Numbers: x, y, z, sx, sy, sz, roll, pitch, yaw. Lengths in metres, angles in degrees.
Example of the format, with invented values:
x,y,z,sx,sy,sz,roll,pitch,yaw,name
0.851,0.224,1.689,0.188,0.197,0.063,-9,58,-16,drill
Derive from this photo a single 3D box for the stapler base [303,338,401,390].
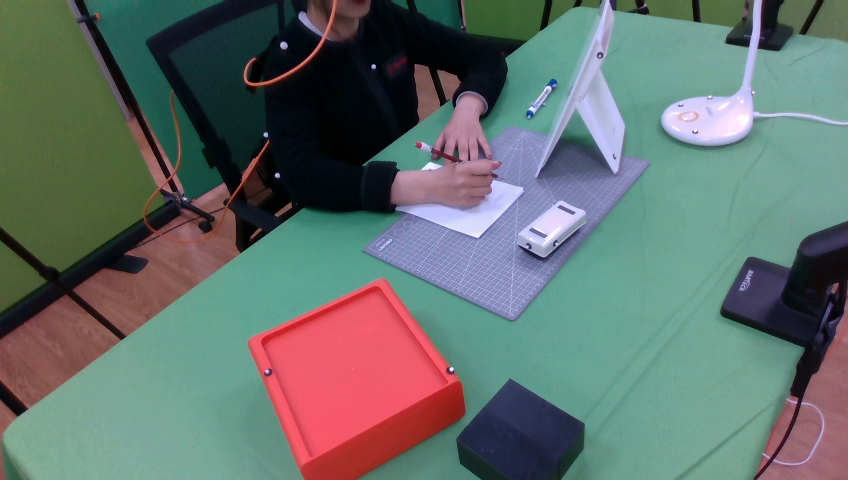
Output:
x,y,z,sx,sy,sz,roll,pitch,yaw,name
-0.096,0.159,0.812,0.131,0.024,0.041,-17,43,-17,stapler base

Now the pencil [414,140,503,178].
x,y,z,sx,sy,sz,roll,pitch,yaw,name
0.063,-0.131,1.008,0.196,0.012,0.012,17,27,-34,pencil

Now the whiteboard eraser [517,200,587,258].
x,y,z,sx,sy,sz,roll,pitch,yaw,name
0.201,-0.016,0.943,0.113,0.042,0.055,-37,46,-29,whiteboard eraser

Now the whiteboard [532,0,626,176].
x,y,z,sx,sy,sz,roll,pitch,yaw,name
0.321,-0.258,1.050,0.144,0.306,0.217,21,45,5,whiteboard

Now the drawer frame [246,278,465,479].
x,y,z,sx,sy,sz,roll,pitch,yaw,name
-0.088,0.168,0.752,0.202,0.083,0.211,-24,43,-18,drawer frame

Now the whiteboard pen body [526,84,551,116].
x,y,z,sx,sy,sz,roll,pitch,yaw,name
0.251,-0.305,1.298,0.017,0.017,0.141,15,45,26,whiteboard pen body

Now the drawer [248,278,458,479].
x,y,z,sx,sy,sz,roll,pitch,yaw,name
-0.092,0.168,0.756,0.195,0.073,0.210,-24,43,-18,drawer

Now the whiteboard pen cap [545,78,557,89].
x,y,z,sx,sy,sz,roll,pitch,yaw,name
0.280,-0.344,1.335,0.018,0.018,0.033,15,45,26,whiteboard pen cap

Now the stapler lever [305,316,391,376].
x,y,z,sx,sy,sz,roll,pitch,yaw,name
-0.099,0.137,0.789,0.118,0.040,0.026,-22,45,-12,stapler lever

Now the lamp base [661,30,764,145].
x,y,z,sx,sy,sz,roll,pitch,yaw,name
0.535,-0.287,1.096,0.179,0.181,0.159,-10,40,-4,lamp base
